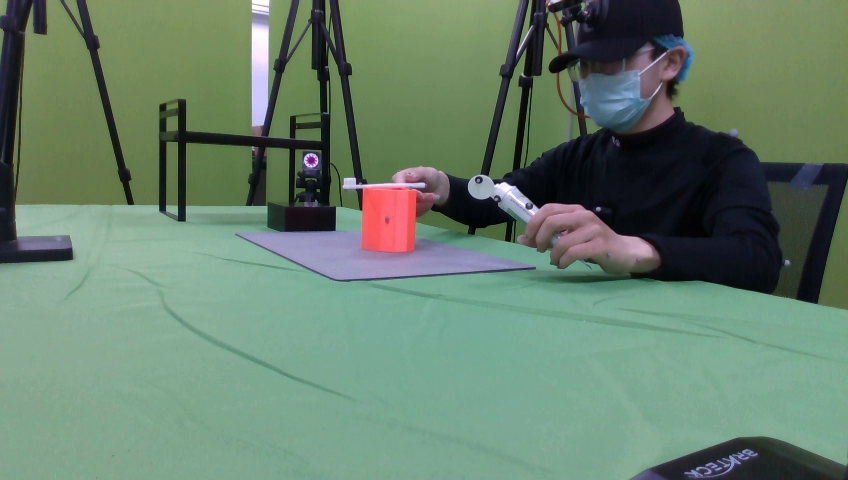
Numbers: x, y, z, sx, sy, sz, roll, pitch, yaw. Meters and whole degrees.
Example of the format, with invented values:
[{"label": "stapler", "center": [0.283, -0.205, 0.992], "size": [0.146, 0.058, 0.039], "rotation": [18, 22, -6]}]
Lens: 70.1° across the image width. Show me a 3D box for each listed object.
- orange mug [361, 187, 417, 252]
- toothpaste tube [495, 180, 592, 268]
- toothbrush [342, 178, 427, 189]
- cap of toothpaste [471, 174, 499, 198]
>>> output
[{"label": "orange mug", "center": [-0.054, -0.039, 0.962], "size": [0.083, 0.101, 0.126], "rotation": [2, 12, 0]}, {"label": "toothpaste tube", "center": [0.153, -0.021, 0.778], "size": [0.164, 0.034, 0.055], "rotation": [43, 15, 16]}, {"label": "toothbrush", "center": [-0.058, -0.089, 0.948], "size": [0.014, 0.016, 0.183], "rotation": [2, 5, 41]}, {"label": "cap of toothpaste", "center": [0.079, -0.072, 0.784], "size": [0.037, 0.037, 0.011], "rotation": [3, 36, 9]}]
